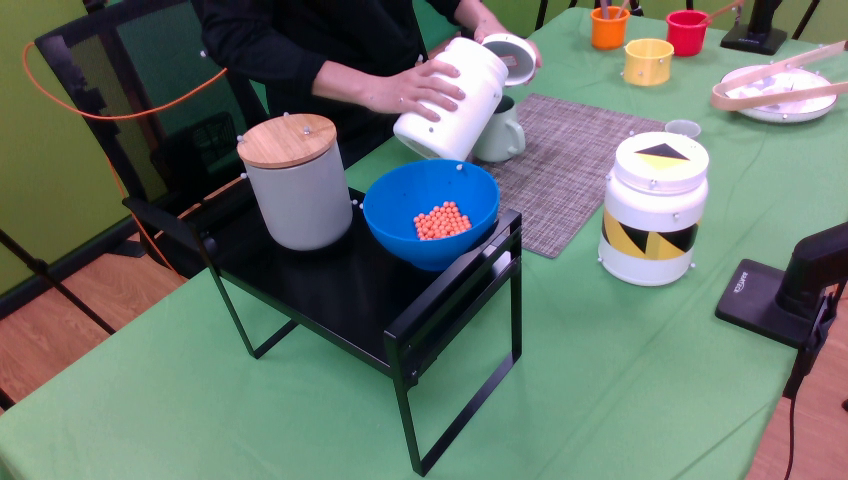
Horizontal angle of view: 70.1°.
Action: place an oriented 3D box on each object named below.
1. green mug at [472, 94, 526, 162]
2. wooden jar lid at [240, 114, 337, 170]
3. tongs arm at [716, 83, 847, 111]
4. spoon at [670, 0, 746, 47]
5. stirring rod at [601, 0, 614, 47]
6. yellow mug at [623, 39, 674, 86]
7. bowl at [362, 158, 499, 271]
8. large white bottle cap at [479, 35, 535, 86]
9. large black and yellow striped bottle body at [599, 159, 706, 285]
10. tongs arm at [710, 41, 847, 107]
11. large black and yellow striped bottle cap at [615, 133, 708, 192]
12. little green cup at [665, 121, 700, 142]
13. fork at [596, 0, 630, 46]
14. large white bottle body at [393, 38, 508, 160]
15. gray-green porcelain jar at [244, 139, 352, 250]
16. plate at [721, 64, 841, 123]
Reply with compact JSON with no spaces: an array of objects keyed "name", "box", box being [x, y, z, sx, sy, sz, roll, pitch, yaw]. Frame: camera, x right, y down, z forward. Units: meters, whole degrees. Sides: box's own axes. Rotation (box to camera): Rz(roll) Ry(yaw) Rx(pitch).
[{"name":"green mug","box":[0.144,-0.202,1.122,0.093,0.105,0.124,-29,45,-23]},{"name":"wooden jar lid","box":[-0.149,-0.106,0.673,0.108,0.021,0.108,-6,39,5]},{"name":"tongs arm","box":[0.738,-0.282,1.134,0.388,0.028,0.028,-9,47,-5]},{"name":"spoon","box":[0.629,-0.485,1.350,0.022,0.193,0.042,47,54,-7]},{"name":"stirring rod","box":[0.439,-0.552,1.463,0.014,0.006,0.175,-7,83,3]},{"name":"yellow mug","box":[0.485,-0.398,1.334,0.100,0.064,0.130,-18,41,-10]},{"name":"bowl","box":[0.011,-0.019,0.679,0.151,0.077,0.150,-5,41,5]},{"name":"large white bottle cap","box":[0.149,-0.331,1.122,0.114,0.115,0.018,8,64,18]},{"name":"large black and yellow striped bottle body","box":[0.320,-0.042,0.854,0.131,0.185,0.130,-4,41,4]},{"name":"tongs arm","box":[0.712,-0.332,1.194,0.386,0.026,0.050,-18,45,-16]},{"name":"large black and yellow striped bottle cap","box":[0.312,-0.105,0.799,0.115,0.019,0.114,-5,41,5]},{"name":"little green cup","box":[0.472,-0.188,1.113,0.061,0.039,0.061,-5,40,4]},{"name":"fork","box":[0.481,-0.556,1.453,0.028,0.019,0.207,40,103,38]},{"name":"large white bottle body","box":[0.048,-0.226,1.004,0.129,0.132,0.184,30,87,36]},{"name":"gray-green porcelain jar","box":[-0.144,-0.060,0.714,0.106,0.127,0.105,-4,41,4]},{"name":"plate","box":[0.695,-0.282,1.189,0.207,0.039,0.206,-4,40,4]}]
